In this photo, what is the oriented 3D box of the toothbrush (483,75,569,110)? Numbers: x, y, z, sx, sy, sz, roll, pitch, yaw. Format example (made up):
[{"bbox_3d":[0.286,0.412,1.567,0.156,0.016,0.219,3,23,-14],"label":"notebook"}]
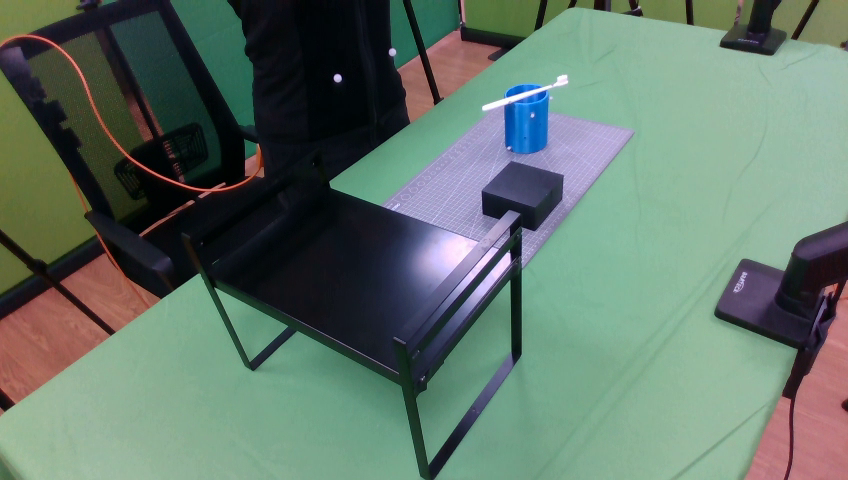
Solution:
[{"bbox_3d":[0.188,-0.269,1.103,0.182,0.017,0.014,-21,47,-16],"label":"toothbrush"}]

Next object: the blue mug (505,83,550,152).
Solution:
[{"bbox_3d":[0.204,-0.242,1.159,0.082,0.106,0.116,14,45,24],"label":"blue mug"}]
